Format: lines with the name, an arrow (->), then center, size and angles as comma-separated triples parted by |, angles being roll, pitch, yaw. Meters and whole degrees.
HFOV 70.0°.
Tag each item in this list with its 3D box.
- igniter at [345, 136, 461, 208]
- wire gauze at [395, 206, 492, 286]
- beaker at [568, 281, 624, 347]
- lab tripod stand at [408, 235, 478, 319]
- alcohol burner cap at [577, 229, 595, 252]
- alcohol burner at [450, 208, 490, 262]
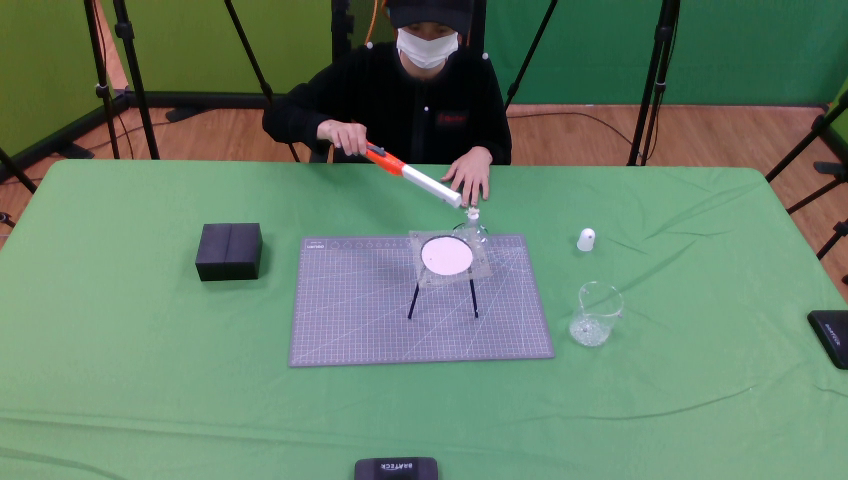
igniter -> -0.046, -0.134, 1.143 | 0.275, 0.057, 0.025 | 31, 70, 24
wire gauze -> 0.031, 0.010, 0.993 | 0.125, 0.011, 0.120 | -24, 57, -17
beaker -> 0.290, 0.132, 1.041 | 0.084, 0.101, 0.073 | -34, 57, -31
lab tripod stand -> 0.032, 0.065, 1.057 | 0.148, 0.132, 0.147 | 1, 45, -1
alcohol burner cap -> 0.326, -0.002, 1.213 | 0.034, 0.048, 0.033 | 1, 47, -1
alcohol burner -> 0.088, -0.015, 1.153 | 0.078, 0.120, 0.077 | 1, 47, -1
